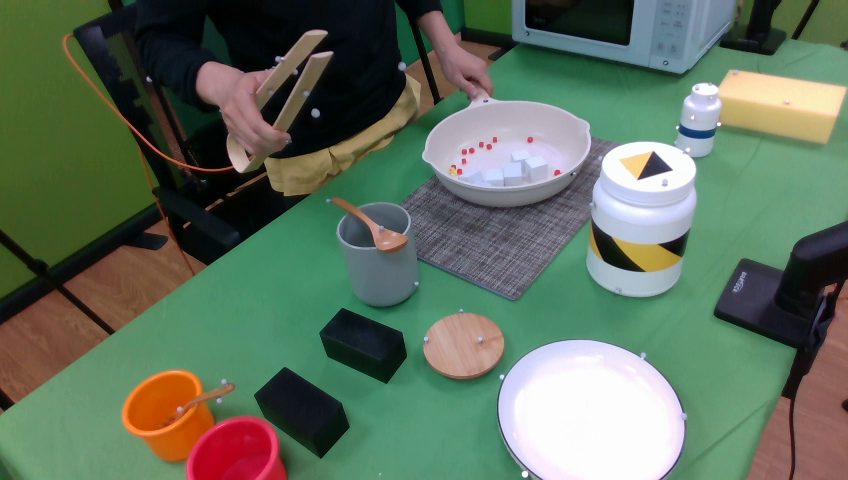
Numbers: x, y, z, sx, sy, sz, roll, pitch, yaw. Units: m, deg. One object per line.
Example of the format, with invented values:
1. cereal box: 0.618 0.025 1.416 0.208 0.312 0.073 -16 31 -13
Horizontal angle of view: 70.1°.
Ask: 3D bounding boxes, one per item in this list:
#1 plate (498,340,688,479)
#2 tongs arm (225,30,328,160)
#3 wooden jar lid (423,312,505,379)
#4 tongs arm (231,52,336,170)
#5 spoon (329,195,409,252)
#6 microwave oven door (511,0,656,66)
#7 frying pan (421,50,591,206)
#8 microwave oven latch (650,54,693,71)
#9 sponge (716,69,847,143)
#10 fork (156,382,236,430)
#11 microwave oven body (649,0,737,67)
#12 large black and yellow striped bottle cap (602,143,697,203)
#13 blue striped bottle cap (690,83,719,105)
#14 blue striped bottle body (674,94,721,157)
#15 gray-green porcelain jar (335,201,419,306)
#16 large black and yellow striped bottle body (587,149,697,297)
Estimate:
1. plate: 0.189 0.206 0.692 0.207 0.039 0.206 -4 40 4
2. tongs arm: -0.197 -0.166 0.764 0.027 0.051 0.382 -24 7 -31
3. wooden jar lid: 0.053 0.142 0.800 0.108 0.021 0.108 -5 39 4
4. tongs arm: -0.190 -0.149 0.764 0.028 0.028 0.385 -28 3 -31
5. spoon: -0.082 -0.029 0.828 0.042 0.022 0.192 -32 43 -20
6. microwave oven door: 0.351 -0.540 1.349 0.353 0.245 0.039 24 50 31
7. frying pan: 0.127 -0.233 1.155 0.307 0.103 0.484 -11 49 -5
8. microwave oven latch: 0.531 -0.386 1.301 0.078 0.029 0.030 26 51 33
9. sponge: 0.663 -0.256 1.142 0.205 0.061 0.118 19 47 28
10. fork: -0.262 0.189 0.690 0.018 0.206 0.028 49 43 -7
11. microwave oven body: 0.475 -0.602 1.411 0.438 0.261 0.327 23 50 32
12. large black and yellow striped bottle cap: 0.289 -0.088 0.779 0.115 0.019 0.114 -5 40 4
13. blue striped bottle cap: 0.482 -0.251 1.038 0.044 0.021 0.044 -5 40 5
14. blue striped bottle body: 0.486 -0.213 1.071 0.063 0.121 0.063 -4 41 4
15. gray-green porcelain jar: -0.064 0.024 0.872 0.106 0.127 0.105 -4 41 4
16. large black and yellow striped bottle body: 0.298 -0.026 0.835 0.131 0.185 0.130 -4 41 4
